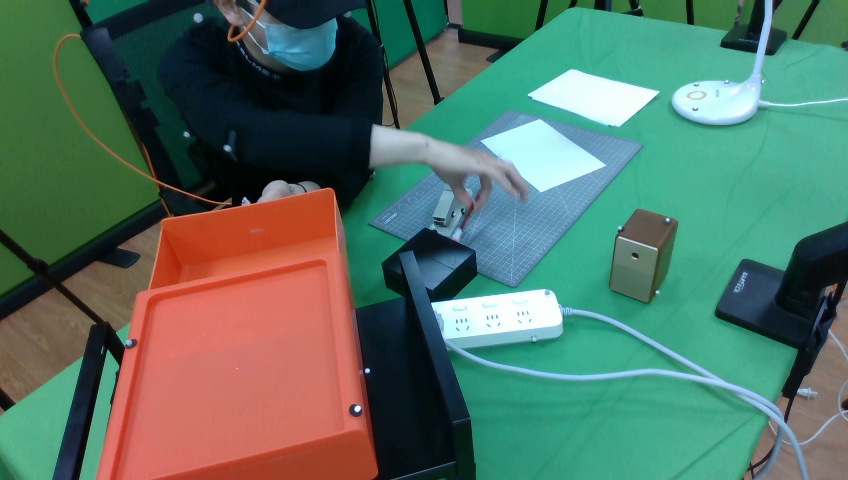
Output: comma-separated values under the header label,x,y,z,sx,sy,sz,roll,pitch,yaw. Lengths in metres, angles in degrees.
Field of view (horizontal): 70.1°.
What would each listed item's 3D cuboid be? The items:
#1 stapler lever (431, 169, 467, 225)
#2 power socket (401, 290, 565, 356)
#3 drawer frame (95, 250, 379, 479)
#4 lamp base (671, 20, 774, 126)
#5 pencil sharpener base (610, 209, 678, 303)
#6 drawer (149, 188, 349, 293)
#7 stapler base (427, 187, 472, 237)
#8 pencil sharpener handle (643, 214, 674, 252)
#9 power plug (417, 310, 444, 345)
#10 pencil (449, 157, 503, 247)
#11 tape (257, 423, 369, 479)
label,x,y,z,sx,sy,sz,roll,pitch,yaw
stapler lever,0.043,-0.074,1.010,0.026,0.040,0.118,9,44,21
power socket,0.081,0.112,0.822,0.227,0.033,0.072,-6,41,0
drawer frame,-0.154,0.119,0.531,0.202,0.083,0.212,-12,41,-6
lamp base,0.581,-0.332,1.154,0.179,0.181,0.160,2,42,7
pencil sharpener base,0.304,0.021,0.839,0.061,0.107,0.077,21,48,30
drawer,-0.177,0.049,0.621,0.195,0.073,0.210,-11,41,-4
stapler base,0.045,-0.057,1.028,0.041,0.024,0.130,9,44,21
pencil sharpener handle,0.338,-0.016,0.857,0.035,0.068,0.031,1,35,44
power plug,0.006,0.122,0.785,0.035,0.053,0.072,0,39,9
pencil,0.088,-0.066,0.985,0.012,0.012,0.194,18,62,27
tape,-0.121,0.263,0.660,0.117,0.053,0.116,-5,39,4
